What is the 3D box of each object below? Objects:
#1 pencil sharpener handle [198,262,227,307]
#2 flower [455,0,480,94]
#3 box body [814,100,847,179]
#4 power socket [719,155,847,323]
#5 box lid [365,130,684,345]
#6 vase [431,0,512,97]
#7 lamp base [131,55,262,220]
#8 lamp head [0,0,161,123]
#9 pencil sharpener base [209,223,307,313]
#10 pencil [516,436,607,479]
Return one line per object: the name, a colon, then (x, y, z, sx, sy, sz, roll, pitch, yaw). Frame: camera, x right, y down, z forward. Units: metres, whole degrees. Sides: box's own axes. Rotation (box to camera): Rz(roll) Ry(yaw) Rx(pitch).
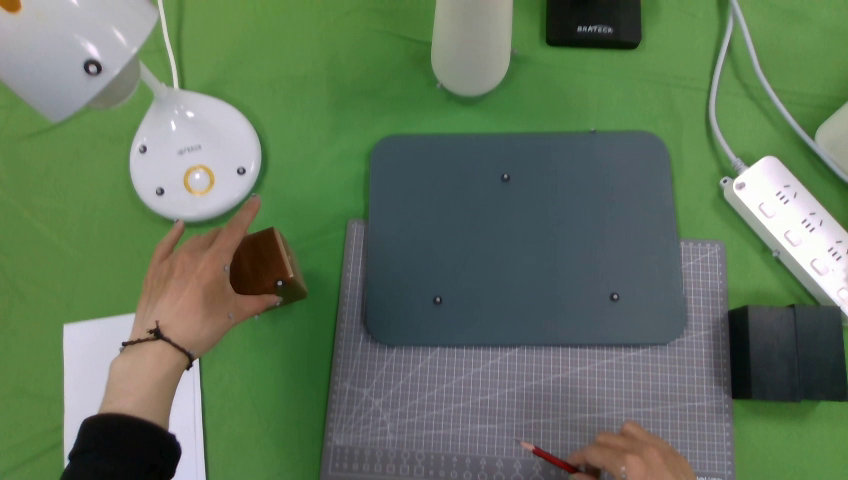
pencil sharpener handle: (-0.220, 0.051, 0.622, 0.031, 0.068, 0.035, -20, 65, -7)
flower: (0.064, -0.281, 0.613, 0.044, 0.364, 0.038, -21, 64, -20)
box body: (0.662, -0.088, 0.653, 0.254, 0.161, 0.362, -39, 78, -8)
power socket: (0.445, -0.003, 0.704, 0.072, 0.033, 0.225, -36, 77, -7)
box lid: (0.117, -0.007, 0.724, 0.371, 0.015, 0.262, -1, 76, 1)
vase: (0.056, -0.247, 0.690, 0.098, 0.201, 0.097, 0, 74, 1)
lamp base: (-0.289, -0.131, 0.678, 0.160, 0.181, 0.178, -27, 74, -5)
lamp head: (-0.260, -0.158, 0.400, 0.112, 0.124, 0.111, -26, 39, 24)
pencil sharpener base: (-0.174, 0.034, 0.641, 0.077, 0.107, 0.061, -20, 78, -7)
pencil: (0.177, 0.240, 0.601, 0.194, 0.012, 0.012, 27, 78, 2)
